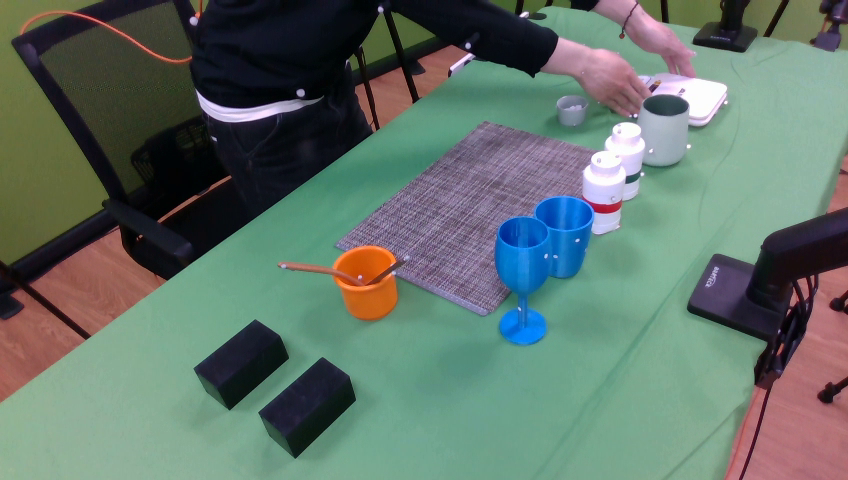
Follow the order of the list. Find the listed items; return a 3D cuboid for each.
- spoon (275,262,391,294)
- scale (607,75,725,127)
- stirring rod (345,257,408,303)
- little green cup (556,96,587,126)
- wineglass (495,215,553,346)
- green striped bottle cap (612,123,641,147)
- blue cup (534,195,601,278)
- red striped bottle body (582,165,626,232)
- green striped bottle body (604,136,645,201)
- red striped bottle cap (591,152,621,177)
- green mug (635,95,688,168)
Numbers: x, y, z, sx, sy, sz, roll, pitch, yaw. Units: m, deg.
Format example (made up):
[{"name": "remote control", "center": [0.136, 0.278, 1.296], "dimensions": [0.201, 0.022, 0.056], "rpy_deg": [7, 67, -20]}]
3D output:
[{"name": "spoon", "center": [-0.120, 0.050, 0.830], "dimensions": [0.041, 0.195, 0.021], "rpy_deg": [31, 97, 45]}, {"name": "scale", "center": [0.490, -0.287, 1.227], "dimensions": [0.199, 0.032, 0.149], "rpy_deg": [22, 48, 30]}, {"name": "stirring rod", "center": [-0.068, 0.057, 0.814], "dimensions": [0.014, 0.175, 0.006], "rpy_deg": [-25, 82, -38]}, {"name": "little green cup", "center": [0.295, -0.257, 1.214], "dimensions": [0.061, 0.039, 0.061], "rpy_deg": [-4, 40, 4]}, {"name": "wineglass", "center": [0.127, 0.054, 0.770], "dimensions": [0.074, 0.173, 0.073], "rpy_deg": [-4, 40, 4]}, {"name": "green striped bottle cap", "center": [0.322, -0.168, 0.963], "dimensions": [0.044, 0.020, 0.044], "rpy_deg": [-5, 40, 5]}, {"name": "blue cup", "center": [0.201, 0.000, 0.879], "dimensions": [0.092, 0.100, 0.092], "rpy_deg": [-3, 39, 3]}, {"name": "red striped bottle body", "center": [0.279, -0.075, 0.942], "dimensions": [0.063, 0.120, 0.062], "rpy_deg": [-4, 42, 4]}, {"name": "green striped bottle body", "center": [0.326, -0.128, 0.997], "dimensions": [0.063, 0.120, 0.063], "rpy_deg": [-4, 41, 4]}, {"name": "red striped bottle cap", "center": [0.273, -0.114, 0.907], "dimensions": [0.044, 0.018, 0.044], "rpy_deg": [-5, 39, 5]}, {"name": "green mug", "center": [0.421, -0.201, 1.081], "dimensions": [0.092, 0.105, 0.125], "rpy_deg": [6, 42, 15]}]
